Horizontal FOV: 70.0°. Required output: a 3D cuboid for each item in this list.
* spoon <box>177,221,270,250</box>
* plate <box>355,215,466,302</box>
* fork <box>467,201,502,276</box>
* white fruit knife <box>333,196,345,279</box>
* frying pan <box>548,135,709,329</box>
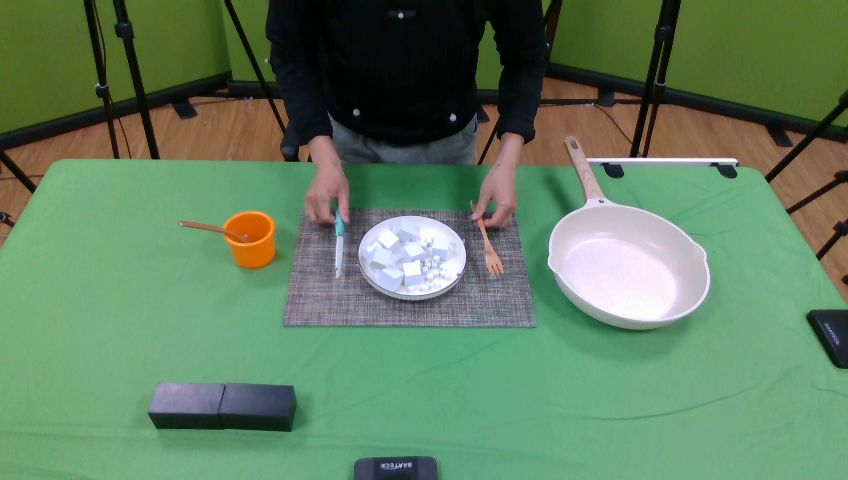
[{"bbox_3d":[-0.358,-0.012,1.093,0.021,0.195,0.041,-52,54,10],"label":"spoon"},{"bbox_3d":[-0.025,0.038,1.144,0.208,0.039,0.206,2,46,-2],"label":"plate"},{"bbox_3d":[0.112,-0.007,1.174,0.028,0.019,0.206,6,47,-23],"label":"fork"},{"bbox_3d":[-0.163,-0.010,1.152,0.016,0.027,0.206,-20,48,19],"label":"white fruit knife"},{"bbox_3d":[0.360,-0.033,1.200,0.307,0.103,0.484,-4,55,-9],"label":"frying pan"}]
